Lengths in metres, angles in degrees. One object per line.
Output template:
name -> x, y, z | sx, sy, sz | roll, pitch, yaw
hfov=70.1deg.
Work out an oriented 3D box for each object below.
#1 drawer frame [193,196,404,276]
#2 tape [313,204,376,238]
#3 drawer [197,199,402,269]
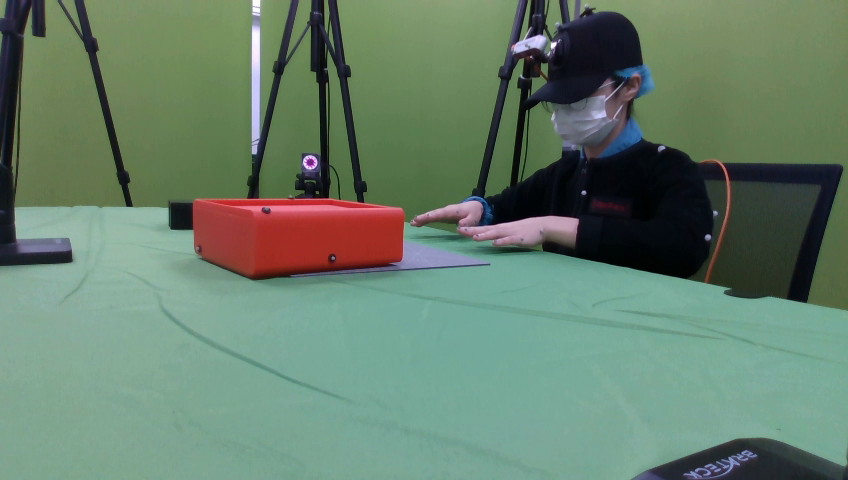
drawer frame -> -0.170, -0.014, 0.814 | 0.215, 0.082, 0.200 | -5, 10, -40
tape -> -0.145, -0.036, 1.117 | 0.117, 0.052, 0.117 | 3, 8, 0
drawer -> -0.169, -0.014, 0.817 | 0.213, 0.073, 0.193 | -4, 10, -39
